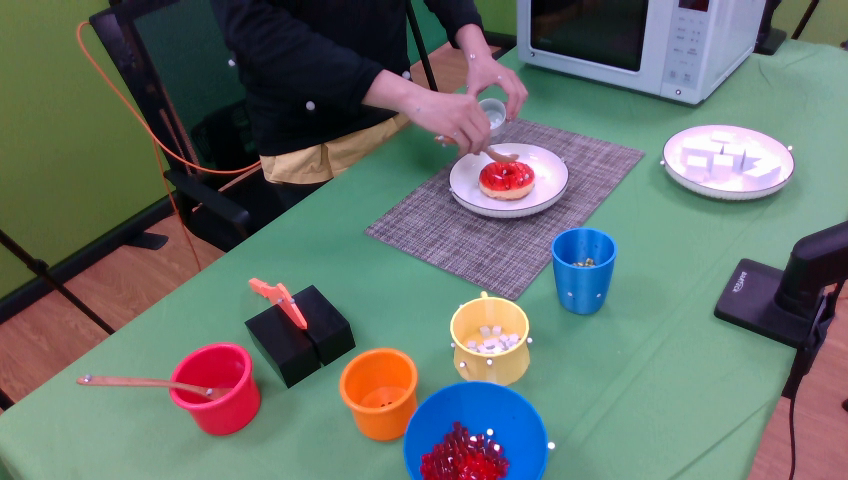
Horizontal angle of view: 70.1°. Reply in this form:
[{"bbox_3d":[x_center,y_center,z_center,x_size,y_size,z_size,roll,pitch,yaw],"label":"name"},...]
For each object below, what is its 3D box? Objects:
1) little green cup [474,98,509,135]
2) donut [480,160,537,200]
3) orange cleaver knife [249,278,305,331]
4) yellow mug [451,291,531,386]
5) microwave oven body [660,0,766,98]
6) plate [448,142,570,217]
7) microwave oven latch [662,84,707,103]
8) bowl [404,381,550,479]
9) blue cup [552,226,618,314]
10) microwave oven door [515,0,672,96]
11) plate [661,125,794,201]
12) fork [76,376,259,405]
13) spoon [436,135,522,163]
[{"bbox_3d":[0.121,-0.218,1.077,0.061,0.039,0.061,-1,83,8],"label":"little green cup"},{"bbox_3d":[0.145,-0.106,1.042,0.099,0.048,0.098,-4,37,3],"label":"donut"},{"bbox_3d":[-0.210,0.088,0.856,0.012,0.077,0.210,-28,15,-25],"label":"orange cleaver knife"},{"bbox_3d":[0.085,0.120,0.786,0.100,0.064,0.130,-7,39,1],"label":"yellow mug"},{"bbox_3d":[0.473,-0.513,1.317,0.438,0.261,0.327,26,51,34],"label":"microwave oven body"},{"bbox_3d":[0.148,-0.101,1.053,0.209,0.038,0.208,-4,40,4],"label":"plate"},{"bbox_3d":[0.517,-0.296,1.204,0.078,0.029,0.030,27,52,35],"label":"microwave oven latch"},{"bbox_3d":[0.058,0.235,0.645,0.151,0.077,0.150,-4,39,4],"label":"bowl"},{"bbox_3d":[0.218,0.047,0.826,0.092,0.101,0.092,-6,40,5],"label":"blue cup"},{"bbox_3d":[0.344,-0.455,1.260,0.353,0.245,0.039,26,51,33],"label":"microwave oven door"},{"bbox_3d":[0.513,-0.128,1.035,0.207,0.039,0.206,-4,40,4],"label":"plate"},{"bbox_3d":[-0.295,0.176,0.716,0.209,0.018,0.028,19,26,-36],"label":"fork"},{"bbox_3d":[0.086,-0.143,0.935,0.195,0.021,0.041,9,3,-45],"label":"spoon"}]
